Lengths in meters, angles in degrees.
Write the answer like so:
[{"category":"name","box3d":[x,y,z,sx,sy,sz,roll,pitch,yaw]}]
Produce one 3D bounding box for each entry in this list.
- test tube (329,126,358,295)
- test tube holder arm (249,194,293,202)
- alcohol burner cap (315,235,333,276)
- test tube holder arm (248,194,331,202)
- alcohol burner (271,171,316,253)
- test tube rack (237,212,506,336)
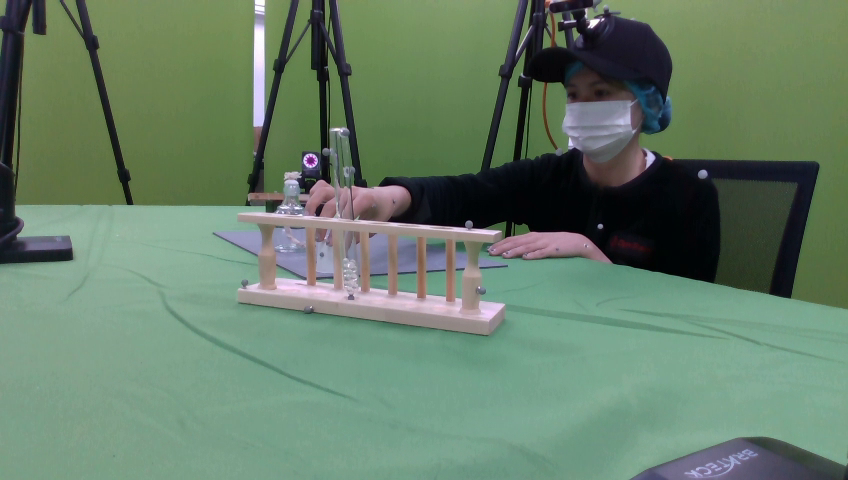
[{"category":"test tube","box3d":[-0.071,-0.025,0.534,0.017,0.150,0.017,-3,10,1]},{"category":"test tube holder arm","box3d":[-0.302,-0.083,1.197,0.088,0.015,0.010,-4,6,-37]},{"category":"alcohol burner cap","box3d":[-0.116,0.018,0.728,0.034,0.048,0.034,2,7,0]},{"category":"test tube holder arm","box3d":[-0.270,-0.085,1.230,0.179,0.015,0.013,-4,6,-39]},{"category":"alcohol burner","box3d":[-0.196,-0.041,0.884,0.078,0.119,0.078,3,5,0]},{"category":"test tube rack","box3d":[-0.049,0.024,0.552,0.242,0.085,0.067,5,8,18]}]
